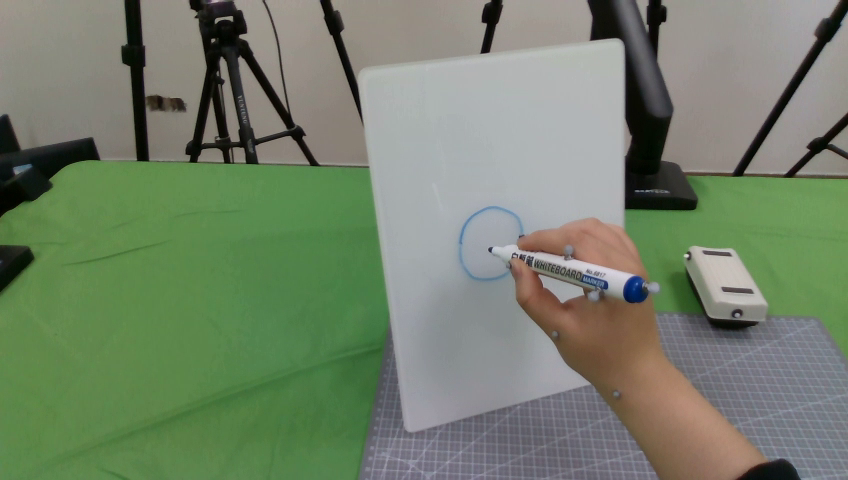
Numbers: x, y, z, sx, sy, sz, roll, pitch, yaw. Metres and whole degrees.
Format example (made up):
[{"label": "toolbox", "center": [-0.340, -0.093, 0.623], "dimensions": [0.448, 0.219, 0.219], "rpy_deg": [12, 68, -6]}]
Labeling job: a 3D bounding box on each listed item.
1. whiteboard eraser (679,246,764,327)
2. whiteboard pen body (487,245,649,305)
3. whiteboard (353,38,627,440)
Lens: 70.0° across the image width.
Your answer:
[{"label": "whiteboard eraser", "center": [0.316, 0.049, 0.651], "dimensions": [0.055, 0.042, 0.112], "rpy_deg": [1, 31, 6]}, {"label": "whiteboard pen body", "center": [0.082, 0.018, 0.382], "dimensions": [0.017, 0.017, 0.139], "rpy_deg": [-20, 18, -26]}, {"label": "whiteboard", "center": [0.052, -0.012, 0.560], "dimensions": [0.218, 0.307, 0.143], "rpy_deg": [-11, 17, -14]}]
